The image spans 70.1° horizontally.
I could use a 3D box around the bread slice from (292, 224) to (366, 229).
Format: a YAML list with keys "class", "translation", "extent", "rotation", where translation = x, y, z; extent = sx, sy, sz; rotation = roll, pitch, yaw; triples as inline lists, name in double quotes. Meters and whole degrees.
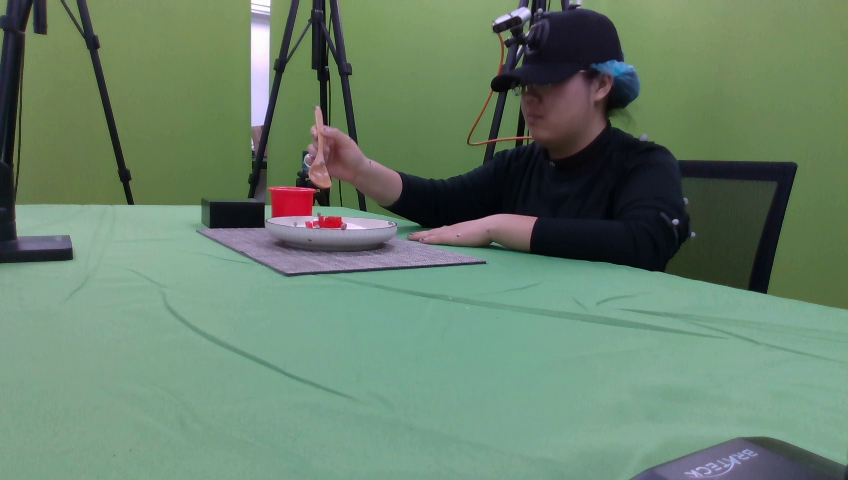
- class: "bread slice"
  translation: [-0.154, -0.012, 0.973]
  extent: [0.132, 0.019, 0.104]
  rotation: [-1, 8, -31]

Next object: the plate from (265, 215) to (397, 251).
- class: "plate"
  translation: [-0.147, -0.012, 0.963]
  extent: [0.209, 0.038, 0.209]
  rotation: [3, 7, 0]

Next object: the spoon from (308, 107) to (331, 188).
- class: "spoon"
  translation: [-0.181, -0.164, 1.049]
  extent: [0.042, 0.193, 0.021]
  rotation: [14, -38, -29]
